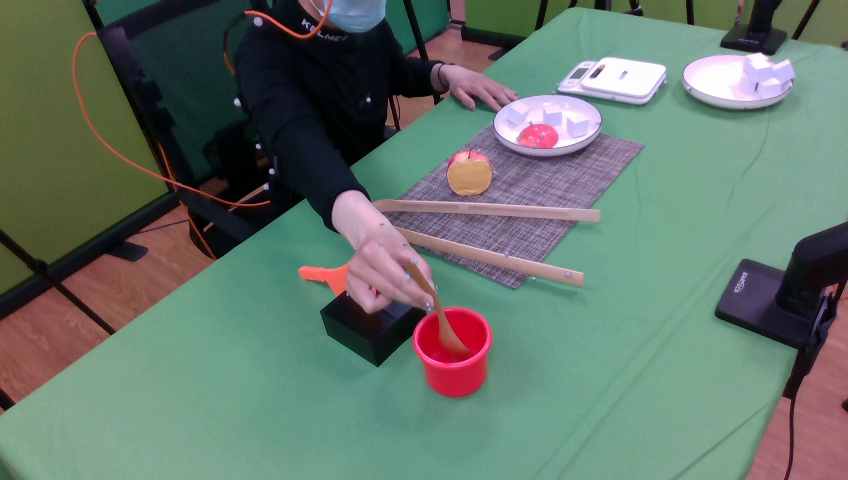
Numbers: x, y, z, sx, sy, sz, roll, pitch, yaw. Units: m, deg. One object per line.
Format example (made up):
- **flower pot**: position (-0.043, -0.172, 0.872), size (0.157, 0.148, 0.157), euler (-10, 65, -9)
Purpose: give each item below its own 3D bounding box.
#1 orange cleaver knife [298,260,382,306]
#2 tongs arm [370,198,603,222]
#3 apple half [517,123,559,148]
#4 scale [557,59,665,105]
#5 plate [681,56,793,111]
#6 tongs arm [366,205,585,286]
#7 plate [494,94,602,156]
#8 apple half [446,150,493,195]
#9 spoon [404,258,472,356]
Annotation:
- **orange cleaver knife**: position (-0.125, 0.063, 0.876), size (0.012, 0.077, 0.210), euler (-38, 19, -30)
- **tongs arm**: position (0.098, -0.048, 1.008), size (0.386, 0.028, 0.028), euler (3, 46, 13)
- **apple half**: position (0.221, -0.207, 1.160), size (0.081, 0.033, 0.081), euler (-6, 43, 6)
- **scale**: position (0.407, -0.348, 1.314), size (0.199, 0.032, 0.149), euler (19, 47, 28)
- **plate**: position (0.636, -0.317, 1.239), size (0.207, 0.039, 0.206), euler (-4, 40, 4)
- **tongs arm**: position (0.067, 0.004, 0.951), size (0.382, 0.026, 0.051), euler (13, 46, 24)
- **plate**: position (0.240, -0.220, 1.181), size (0.209, 0.038, 0.208), euler (-4, 41, 4)
- **apple half**: position (0.080, -0.123, 1.065), size (0.081, 0.075, 0.053), euler (-7, 37, 7)
- **spoon**: position (0.015, 0.081, 0.692), size (0.041, 0.195, 0.021), euler (15, 55, 37)
